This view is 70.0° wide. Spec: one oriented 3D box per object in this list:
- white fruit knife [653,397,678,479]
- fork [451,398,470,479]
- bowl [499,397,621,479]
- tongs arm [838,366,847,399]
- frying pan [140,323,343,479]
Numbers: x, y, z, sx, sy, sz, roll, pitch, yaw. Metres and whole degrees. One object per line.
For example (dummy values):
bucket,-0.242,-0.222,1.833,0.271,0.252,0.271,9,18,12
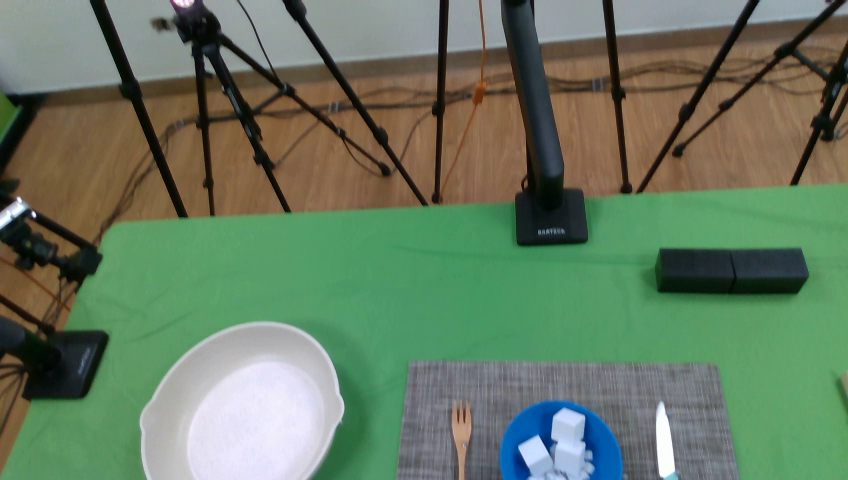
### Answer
white fruit knife,0.316,0.301,0.786,0.027,0.016,0.205,7,55,2
fork,0.050,0.316,0.824,0.028,0.019,0.205,1,53,1
bowl,0.174,0.289,0.782,0.151,0.077,0.150,-5,54,7
tongs arm,0.576,0.330,0.712,0.028,0.028,0.383,-5,54,5
frying pan,-0.266,0.339,0.820,0.306,0.104,0.483,-4,46,9
